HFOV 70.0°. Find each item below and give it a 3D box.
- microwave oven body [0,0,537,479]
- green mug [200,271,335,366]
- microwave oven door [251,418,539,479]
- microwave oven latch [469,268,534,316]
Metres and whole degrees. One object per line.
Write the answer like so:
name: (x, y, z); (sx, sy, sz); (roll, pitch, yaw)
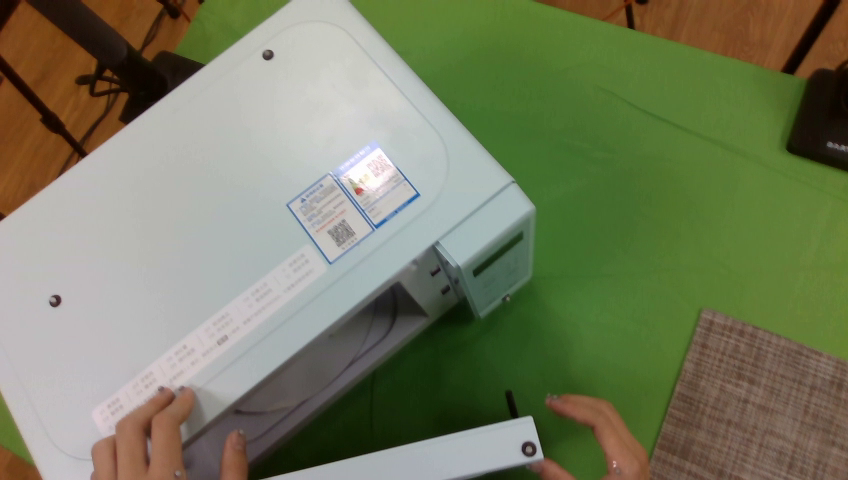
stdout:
microwave oven body: (-0.157, 0.024, 0.622); (0.441, 0.262, 0.323); (-38, 72, -3)
green mug: (-0.153, 0.084, 0.624); (0.125, 0.105, 0.092); (10, 76, 13)
microwave oven door: (-0.075, 0.215, 0.545); (0.356, 0.245, 0.039); (-14, 71, 4)
microwave oven latch: (0.087, 0.051, 0.678); (0.079, 0.030, 0.030); (-36, 72, -2)
